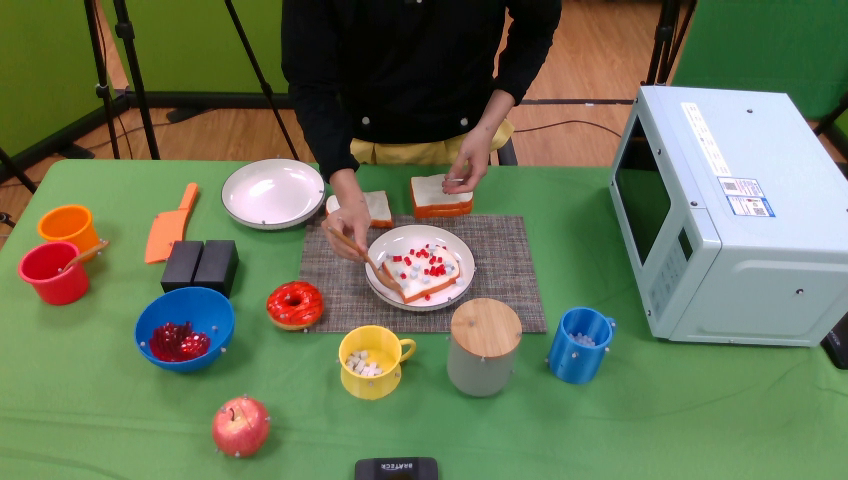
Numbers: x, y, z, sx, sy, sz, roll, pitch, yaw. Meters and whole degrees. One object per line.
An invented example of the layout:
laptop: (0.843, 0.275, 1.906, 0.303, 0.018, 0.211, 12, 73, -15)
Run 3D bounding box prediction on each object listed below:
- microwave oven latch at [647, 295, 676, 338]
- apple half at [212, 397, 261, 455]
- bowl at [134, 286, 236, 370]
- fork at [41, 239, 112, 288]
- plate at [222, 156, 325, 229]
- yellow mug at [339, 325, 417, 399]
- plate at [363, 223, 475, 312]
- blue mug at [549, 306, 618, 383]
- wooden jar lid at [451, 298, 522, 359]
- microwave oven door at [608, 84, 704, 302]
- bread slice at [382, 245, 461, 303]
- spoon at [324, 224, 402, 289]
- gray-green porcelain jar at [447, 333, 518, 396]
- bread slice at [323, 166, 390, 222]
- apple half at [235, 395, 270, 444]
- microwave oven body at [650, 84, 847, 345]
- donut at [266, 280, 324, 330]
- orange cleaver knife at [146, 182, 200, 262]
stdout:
microwave oven latch: (0.413, 0.133, 1.060, 0.030, 0.029, 0.078, 4, 46, 1)
apple half: (-0.276, 0.277, 0.877, 0.053, 0.075, 0.080, -29, 58, -21)
bowl: (-0.377, 0.156, 0.981, 0.151, 0.077, 0.150, 2, 46, -2)
fork: (-0.591, 0.040, 1.028, 0.207, 0.019, 0.028, -27, 37, 29)
plate: (-0.308, -0.094, 1.251, 0.209, 0.038, 0.208, 2, 46, -2)
yellow mug: (-0.072, 0.190, 0.978, 0.131, 0.064, 0.099, -17, 50, -20)
plate: (-0.009, 0.054, 1.126, 0.208, 0.039, 0.206, 2, 47, -2)
blue mug: (0.269, 0.167, 0.997, 0.116, 0.106, 0.082, -19, 51, -21)
wooden jar lid: (0.093, 0.135, 0.914, 0.108, 0.021, 0.107, 3, 48, -3)
microwave oven door: (0.424, -0.096, 1.138, 0.039, 0.245, 0.353, 2, 47, -1)
bread slice: (0.000, 0.055, 1.129, 0.131, 0.019, 0.104, -20, 52, -20)
spoon: (-0.100, 0.028, 1.023, 0.021, 0.195, 0.041, -40, 36, 2)
gray-green porcelain jar: (0.091, 0.178, 0.960, 0.106, 0.127, 0.105, 2, 46, -2)
bread slice: (-0.140, -0.091, 1.224, 0.134, 0.018, 0.106, -19, 50, 5)
apple half: (-0.245, 0.260, 0.893, 0.033, 0.082, 0.081, -29, 55, -22)
microwave oven body: (0.569, -0.054, 1.116, 0.326, 0.261, 0.439, 2, 46, -1)
donut: (-0.223, 0.113, 1.051, 0.099, 0.048, 0.098, 2, 45, -2)
orange cleaver knife: (-0.494, -0.039, 1.198, 0.077, 0.012, 0.210, -3, 48, 2)
